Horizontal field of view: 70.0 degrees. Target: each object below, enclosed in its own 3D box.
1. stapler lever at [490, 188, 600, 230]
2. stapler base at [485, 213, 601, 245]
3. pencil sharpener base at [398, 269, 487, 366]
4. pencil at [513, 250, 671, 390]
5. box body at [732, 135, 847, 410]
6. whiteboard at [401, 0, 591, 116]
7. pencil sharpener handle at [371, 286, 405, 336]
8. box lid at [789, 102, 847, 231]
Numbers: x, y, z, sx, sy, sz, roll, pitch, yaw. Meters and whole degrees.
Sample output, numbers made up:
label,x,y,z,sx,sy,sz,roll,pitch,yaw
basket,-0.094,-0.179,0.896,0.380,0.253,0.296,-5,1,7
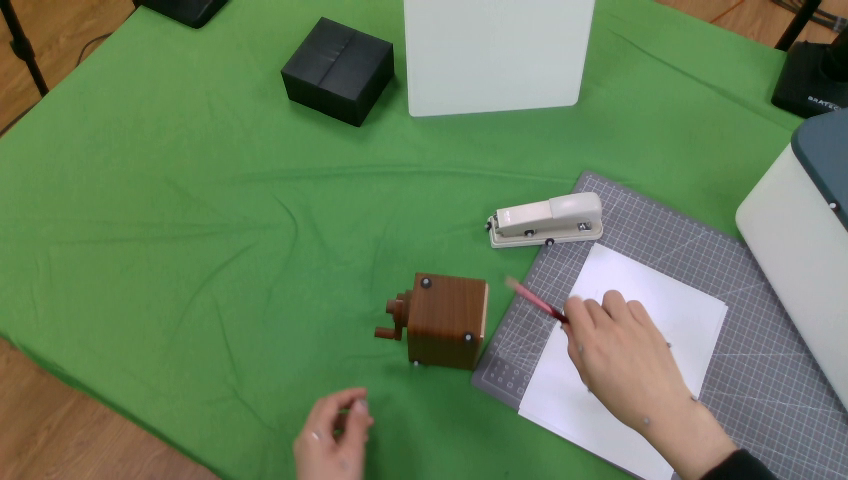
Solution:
label,x,y,z,sx,sy,sz,roll,pitch,yaw
stapler lever,0.133,-0.033,0.663,0.118,0.040,0.026,-5,60,-1
stapler base,0.136,-0.022,0.685,0.130,0.024,0.041,-6,60,-1
pencil sharpener base,0.016,0.077,0.589,0.076,0.108,0.061,7,64,3
pencil,0.154,0.073,0.554,0.194,0.012,0.012,41,68,-4
box body,0.512,0.045,0.586,0.254,0.161,0.360,-16,65,-9
whiteboard,0.077,-0.322,0.709,0.217,0.308,0.142,-4,45,-3
pencil sharpener handle,-0.035,0.070,0.577,0.030,0.068,0.035,7,47,3
box lid,0.513,0.010,0.521,0.264,0.015,0.368,-16,66,-10
